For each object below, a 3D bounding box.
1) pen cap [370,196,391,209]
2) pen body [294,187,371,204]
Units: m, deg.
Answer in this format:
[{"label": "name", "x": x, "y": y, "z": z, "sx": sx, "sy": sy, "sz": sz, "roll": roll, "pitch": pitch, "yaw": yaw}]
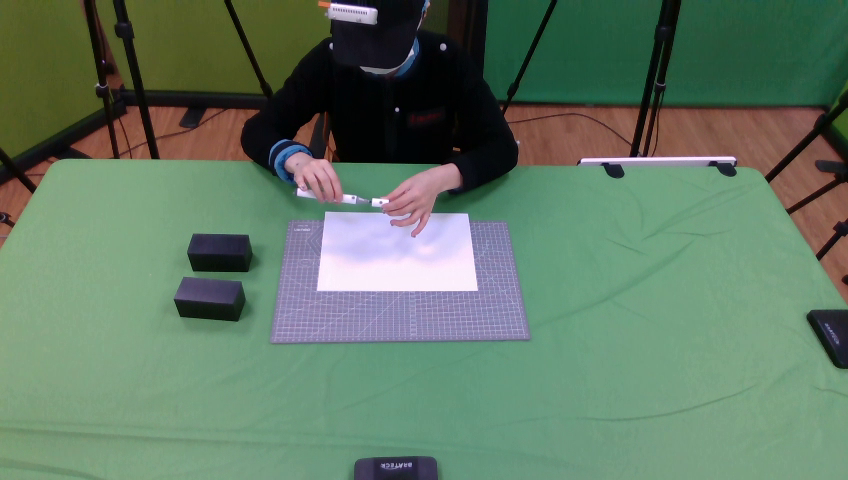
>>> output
[{"label": "pen cap", "x": -0.082, "y": -0.071, "z": 1.151, "sx": 0.038, "sy": 0.017, "sz": 0.017, "roll": 16, "pitch": 46, "yaw": -7}, {"label": "pen body", "x": -0.172, "y": -0.083, "z": 1.141, "sx": 0.144, "sy": 0.017, "sz": 0.017, "roll": 8, "pitch": 46, "yaw": -6}]
